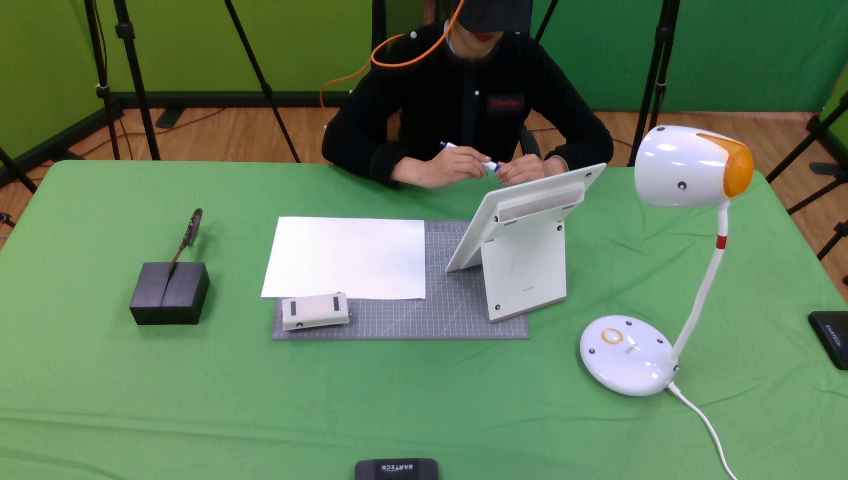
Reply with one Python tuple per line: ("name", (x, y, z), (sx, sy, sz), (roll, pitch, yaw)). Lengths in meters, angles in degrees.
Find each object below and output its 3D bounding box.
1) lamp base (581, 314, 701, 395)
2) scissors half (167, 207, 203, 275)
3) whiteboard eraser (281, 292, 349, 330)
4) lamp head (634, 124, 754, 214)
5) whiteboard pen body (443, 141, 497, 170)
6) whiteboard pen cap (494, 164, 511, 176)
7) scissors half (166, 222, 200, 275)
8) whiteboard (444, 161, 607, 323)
("lamp base", (0.361, 0.145, 0.972), (0.178, 0.181, 0.160), (34, 53, 23))
("scissors half", (-0.436, 0.000, 1.104), (0.013, 0.040, 0.174), (21, 44, -14))
("whiteboard eraser", (-0.189, 0.124, 1.045), (0.113, 0.042, 0.055), (-6, 46, -10))
("lamp head", (0.351, -0.089, 0.776), (0.112, 0.113, 0.122), (-30, 30, -28))
("whiteboard pen body", (0.104, -0.168, 1.231), (0.141, 0.017, 0.017), (24, 48, 3))
("whiteboard pen cap", (0.157, -0.142, 1.227), (0.033, 0.018, 0.018), (23, 48, 2))
("scissors half", (-0.444, 0.015, 1.116), (0.013, 0.040, 0.174), (16, 27, -10))
("whiteboard", (0.186, 0.025, 1.029), (0.217, 0.306, 0.143), (-14, 68, -18))
